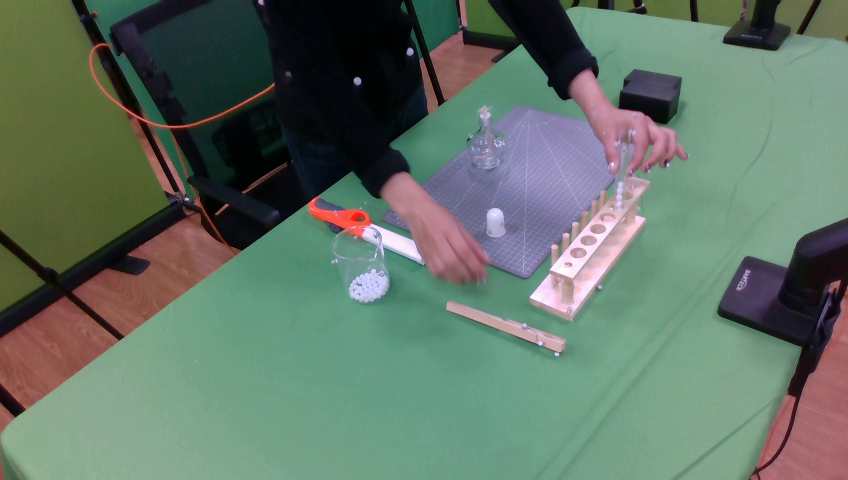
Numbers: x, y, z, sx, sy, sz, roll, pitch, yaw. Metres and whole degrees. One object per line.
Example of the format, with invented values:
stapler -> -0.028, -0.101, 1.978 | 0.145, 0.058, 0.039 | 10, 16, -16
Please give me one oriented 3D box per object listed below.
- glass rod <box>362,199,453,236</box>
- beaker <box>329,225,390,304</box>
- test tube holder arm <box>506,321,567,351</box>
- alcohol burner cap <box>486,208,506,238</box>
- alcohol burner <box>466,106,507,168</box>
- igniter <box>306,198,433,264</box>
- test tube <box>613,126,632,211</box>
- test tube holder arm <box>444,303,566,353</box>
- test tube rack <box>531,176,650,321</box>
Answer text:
glass rod -> -0.032, -0.041, 1.040 | 0.198, 0.008, 0.008 | 22, 50, 30
beaker -> -0.089, 0.040, 0.890 | 0.074, 0.101, 0.083 | -32, 46, -24
test tube holder arm -> 0.148, 0.128, 0.808 | 0.087, 0.015, 0.010 | 16, 10, 28
alcohol burner cap -> 0.116, -0.030, 0.975 | 0.034, 0.048, 0.033 | -6, 40, 5
alcohol burner -> 0.115, -0.193, 1.112 | 0.078, 0.119, 0.077 | -4, 41, 4
igniter -> -0.102, -0.020, 1.019 | 0.274, 0.025, 0.057 | 22, 59, 32
test tube -> 0.275, -0.090, 0.840 | 0.017, 0.151, 0.017 | -6, 38, 5
test tube holder arm -> 0.106, 0.117, 0.823 | 0.177, 0.015, 0.013 | 16, 10, 27
test tube rack -> 0.246, 0.002, 0.884 | 0.066, 0.085, 0.243 | 22, 49, 32
